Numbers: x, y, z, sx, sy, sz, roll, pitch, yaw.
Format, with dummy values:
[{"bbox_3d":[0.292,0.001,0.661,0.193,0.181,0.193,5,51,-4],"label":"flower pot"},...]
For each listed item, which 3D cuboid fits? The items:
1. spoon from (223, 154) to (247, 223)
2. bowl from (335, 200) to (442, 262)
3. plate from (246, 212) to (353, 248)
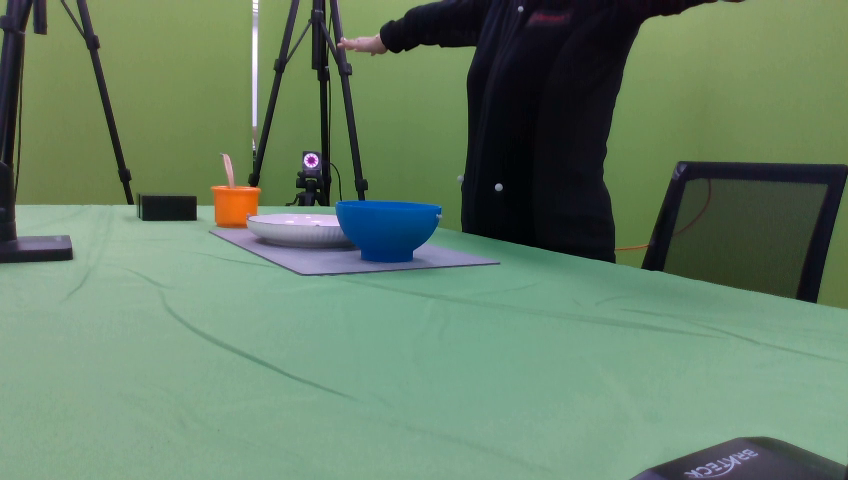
[{"bbox_3d":[-0.381,-0.104,1.202,0.042,0.193,0.021,0,-37,-27],"label":"spoon"},{"bbox_3d":[-0.051,-0.013,0.848,0.151,0.077,0.151,3,7,0],"label":"bowl"},{"bbox_3d":[-0.184,-0.017,0.995,0.209,0.038,0.209,3,8,0],"label":"plate"}]
